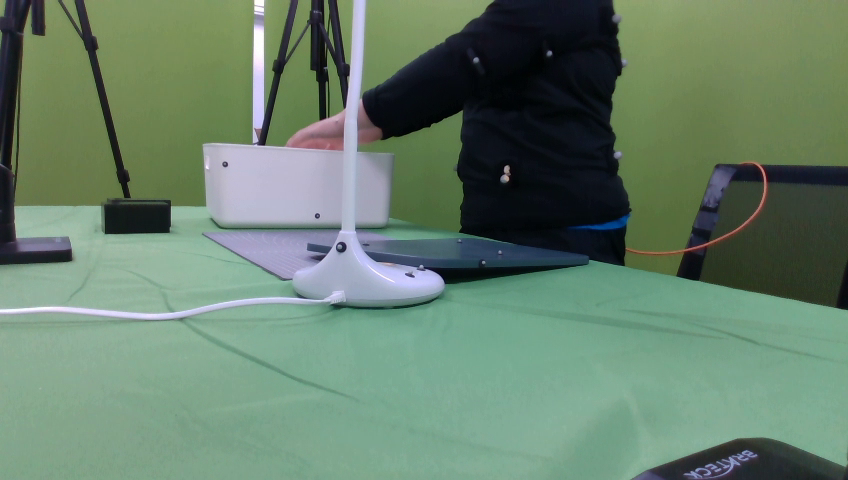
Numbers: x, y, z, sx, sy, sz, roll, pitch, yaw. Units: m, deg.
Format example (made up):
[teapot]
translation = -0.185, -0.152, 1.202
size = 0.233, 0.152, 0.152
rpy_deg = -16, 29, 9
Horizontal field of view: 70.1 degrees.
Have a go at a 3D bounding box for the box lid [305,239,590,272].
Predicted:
[box lid]
translation = 0.042, 0.019, 0.879
size = 0.262, 0.015, 0.374
rpy_deg = 7, 5, 44

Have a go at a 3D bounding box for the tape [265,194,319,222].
[tape]
translation = -0.284, -0.069, 1.298
size = 0.117, 0.052, 0.117
rpy_deg = 3, 7, 0

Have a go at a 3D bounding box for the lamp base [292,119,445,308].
[lamp base]
translation = -0.056, -0.030, 0.616
size = 0.160, 0.180, 0.179
rpy_deg = 4, 10, 8

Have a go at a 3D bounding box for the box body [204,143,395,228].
[box body]
translation = -0.271, -0.117, 1.291
size = 0.366, 0.160, 0.253
rpy_deg = -1, 8, -25
